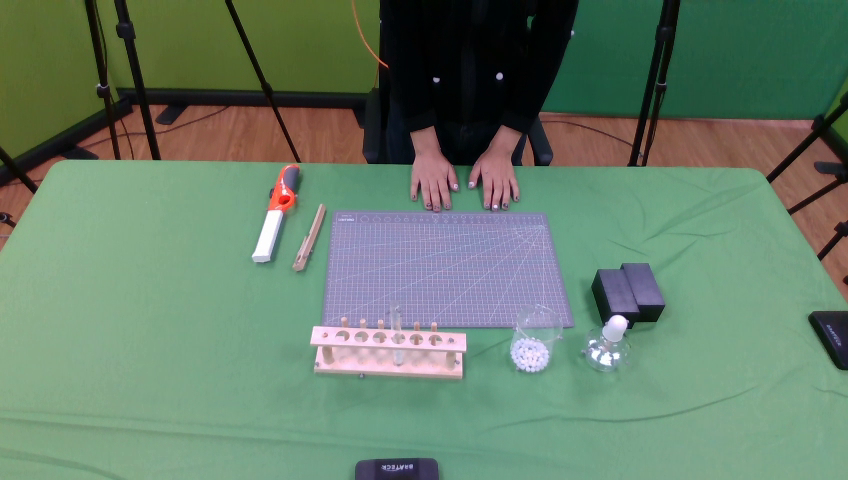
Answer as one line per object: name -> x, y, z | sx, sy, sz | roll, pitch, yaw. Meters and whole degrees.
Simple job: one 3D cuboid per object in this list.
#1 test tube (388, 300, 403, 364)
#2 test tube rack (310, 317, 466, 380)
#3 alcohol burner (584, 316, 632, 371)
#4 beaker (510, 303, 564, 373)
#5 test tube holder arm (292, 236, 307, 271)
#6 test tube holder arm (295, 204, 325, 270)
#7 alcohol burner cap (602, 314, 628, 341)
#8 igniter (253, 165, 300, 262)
test tube -> -0.044, 0.146, 0.942 | 0.017, 0.151, 0.017 | -1, 44, 1
test tube rack -> -0.056, 0.171, 0.987 | 0.242, 0.085, 0.066 | 3, 45, -1
alcohol burner -> 0.307, 0.163, 0.999 | 0.078, 0.120, 0.077 | 1, 48, -1
beaker -> 0.182, 0.164, 1.000 | 0.074, 0.101, 0.083 | 2, 46, -1
test tube holder arm -> -0.234, 0.024, 1.163 | 0.010, 0.015, 0.087 | -16, 38, 27
test tube holder arm -> -0.223, -0.009, 1.192 | 0.013, 0.015, 0.177 | -17, 38, 26
alcohol burner cap -> 0.309, 0.138, 0.974 | 0.034, 0.048, 0.033 | 2, 52, -2
igniter -> -0.298, -0.063, 1.234 | 0.057, 0.025, 0.275 | -2, 45, 7
